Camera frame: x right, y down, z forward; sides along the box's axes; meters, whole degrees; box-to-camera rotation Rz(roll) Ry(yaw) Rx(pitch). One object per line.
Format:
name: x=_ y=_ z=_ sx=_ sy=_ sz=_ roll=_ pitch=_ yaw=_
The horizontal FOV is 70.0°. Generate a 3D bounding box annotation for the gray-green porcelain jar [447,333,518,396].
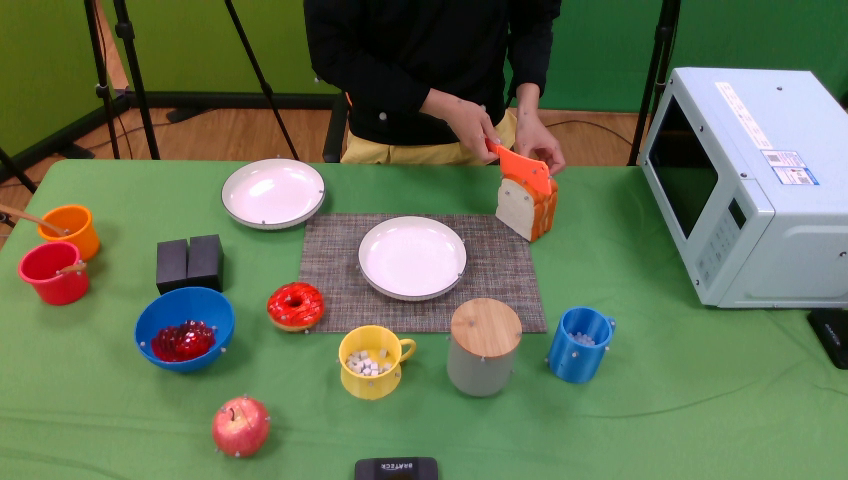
gray-green porcelain jar: x=0.091 y=0.178 z=0.960 sx=0.106 sy=0.127 sz=0.105 roll=2 pitch=46 yaw=-2

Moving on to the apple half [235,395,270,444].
apple half: x=-0.245 y=0.259 z=0.893 sx=0.033 sy=0.082 sz=0.081 roll=-29 pitch=55 yaw=-22

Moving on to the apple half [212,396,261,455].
apple half: x=-0.276 y=0.276 z=0.877 sx=0.053 sy=0.075 sz=0.080 roll=-29 pitch=58 yaw=-21

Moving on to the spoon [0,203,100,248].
spoon: x=-0.683 y=-0.031 z=1.088 sx=0.195 sy=0.021 sz=0.041 roll=33 pitch=33 yaw=-38

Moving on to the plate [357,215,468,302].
plate: x=-0.022 y=0.037 z=1.141 sx=0.208 sy=0.039 sz=0.206 roll=2 pitch=46 yaw=-2

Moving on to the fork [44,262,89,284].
fork: x=-0.598 y=0.054 z=1.014 sx=0.207 sy=0.019 sz=0.028 roll=-15 pitch=29 yaw=45

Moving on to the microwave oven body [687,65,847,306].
microwave oven body: x=0.669 y=-0.111 z=1.176 sx=0.326 sy=0.261 sz=0.439 roll=0 pitch=46 yaw=-3

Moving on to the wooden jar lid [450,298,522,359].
wooden jar lid: x=0.093 y=0.135 z=0.914 sx=0.108 sy=0.021 sz=0.107 roll=2 pitch=48 yaw=-3

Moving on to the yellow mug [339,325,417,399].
yellow mug: x=-0.072 y=0.190 z=0.978 sx=0.131 sy=0.064 sz=0.099 roll=-17 pitch=50 yaw=-20

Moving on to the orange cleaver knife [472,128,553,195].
orange cleaver knife: x=0.168 y=-0.153 z=1.164 sx=0.012 sy=0.077 sz=0.210 roll=-31 pitch=48 yaw=-26

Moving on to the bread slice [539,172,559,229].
bread slice: x=0.226 y=-0.093 z=1.223 sx=0.018 sy=0.135 sz=0.106 roll=-34 pitch=60 yaw=-28

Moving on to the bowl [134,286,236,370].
bowl: x=-0.377 y=0.155 z=0.981 sx=0.151 sy=0.077 sz=0.150 roll=2 pitch=46 yaw=-2

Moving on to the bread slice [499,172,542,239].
bread slice: x=0.189 y=-0.073 z=1.198 sx=0.019 sy=0.132 sz=0.104 roll=-34 pitch=55 yaw=-23

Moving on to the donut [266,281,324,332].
donut: x=-0.222 y=0.114 z=1.049 sx=0.099 sy=0.048 sz=0.098 roll=2 pitch=46 yaw=-2

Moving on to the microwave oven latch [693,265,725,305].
microwave oven latch: x=0.523 y=0.082 z=1.116 sx=0.030 sy=0.029 sz=0.078 roll=2 pitch=46 yaw=-1

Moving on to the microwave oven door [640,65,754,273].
microwave oven door: x=0.523 y=-0.147 z=1.193 sx=0.039 sy=0.245 sz=0.353 roll=0 pitch=47 yaw=-3

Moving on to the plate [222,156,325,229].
plate: x=-0.308 y=-0.095 z=1.251 sx=0.209 sy=0.038 sz=0.208 roll=2 pitch=46 yaw=-2

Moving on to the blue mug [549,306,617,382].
blue mug: x=0.269 y=0.166 z=0.998 sx=0.116 sy=0.106 sz=0.082 roll=-19 pitch=51 yaw=-21
